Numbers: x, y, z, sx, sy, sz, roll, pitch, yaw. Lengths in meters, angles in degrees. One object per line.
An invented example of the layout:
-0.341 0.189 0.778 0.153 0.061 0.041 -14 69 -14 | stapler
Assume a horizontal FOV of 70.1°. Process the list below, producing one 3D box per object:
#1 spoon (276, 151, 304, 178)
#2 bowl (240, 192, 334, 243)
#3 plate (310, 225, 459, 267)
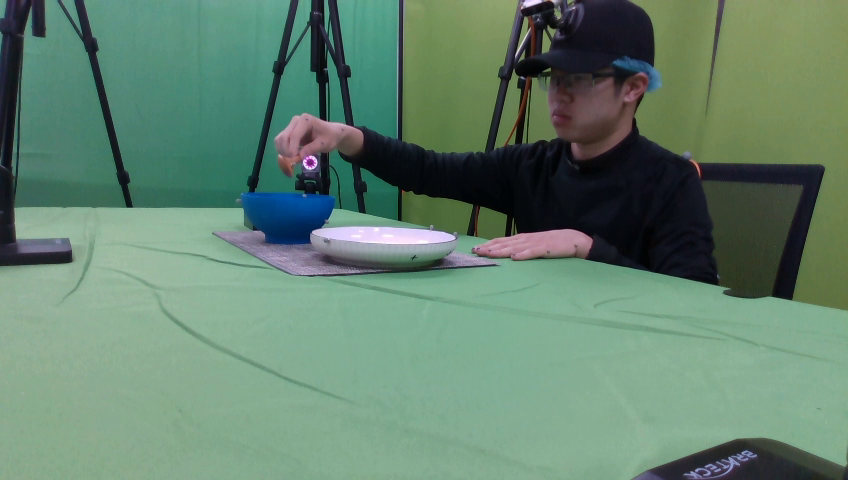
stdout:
-0.219 -0.135 1.021 0.021 0.041 0.193 -28 13 8 | spoon
-0.223 -0.037 0.992 0.151 0.077 0.151 2 7 0 | bowl
-0.055 0.008 0.851 0.208 0.039 0.207 2 7 0 | plate
